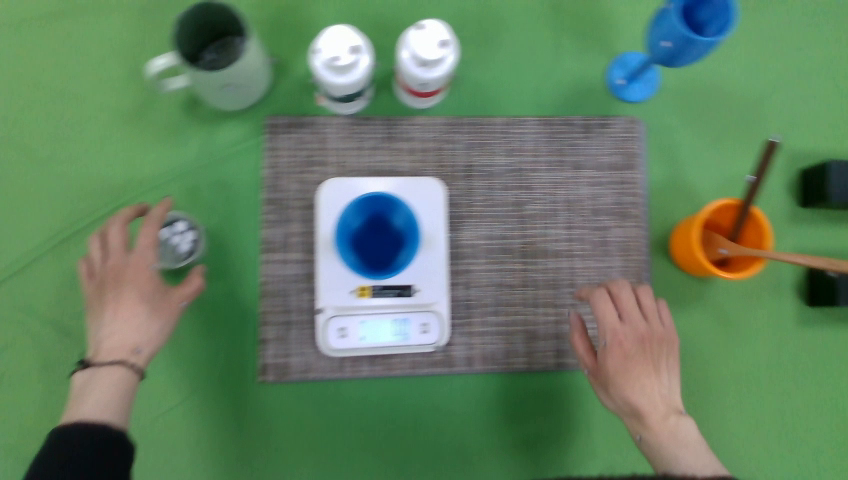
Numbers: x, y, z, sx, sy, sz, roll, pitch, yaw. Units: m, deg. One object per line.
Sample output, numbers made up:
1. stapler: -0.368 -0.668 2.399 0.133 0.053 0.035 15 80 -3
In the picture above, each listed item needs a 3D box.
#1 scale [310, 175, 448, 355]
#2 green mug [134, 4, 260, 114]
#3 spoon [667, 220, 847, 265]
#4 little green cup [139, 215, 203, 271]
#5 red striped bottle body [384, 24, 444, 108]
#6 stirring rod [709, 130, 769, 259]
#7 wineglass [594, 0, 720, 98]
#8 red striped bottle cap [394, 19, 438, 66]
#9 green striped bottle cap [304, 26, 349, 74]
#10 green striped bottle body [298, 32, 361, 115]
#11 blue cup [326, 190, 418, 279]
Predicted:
1. scale: -0.050 0.026 0.684 0.149 0.031 0.200 -3 85 -5
2. green mug: -0.247 -0.187 0.655 0.125 0.105 0.092 -24 87 -7
3. spoon: 0.368 0.008 0.669 0.022 0.192 0.041 11 90 -47
4. little green cup: -0.275 0.005 0.666 0.061 0.038 0.061 1 85 -6
5. red striped bottle body: -0.012 -0.195 0.669 0.063 0.120 0.063 1 83 -5
6. stirring rod: 0.347 -0.044 0.672 0.014 0.178 0.005 5 43 9
7. wineglass: 0.249 -0.218 0.668 0.074 0.172 0.073 1 83 -4
8. red striped bottle cap: -0.008 -0.201 0.617 0.044 0.018 0.044 1 82 -8
9. green striped bottle cap: -0.098 -0.191 0.608 0.044 0.020 0.044 1 84 -5
10. green striped bottle body: -0.101 -0.185 0.660 0.063 0.119 0.063 1 83 -4
11. blue cup: -0.052 -0.001 0.621 0.093 0.100 0.092 0 86 -5
